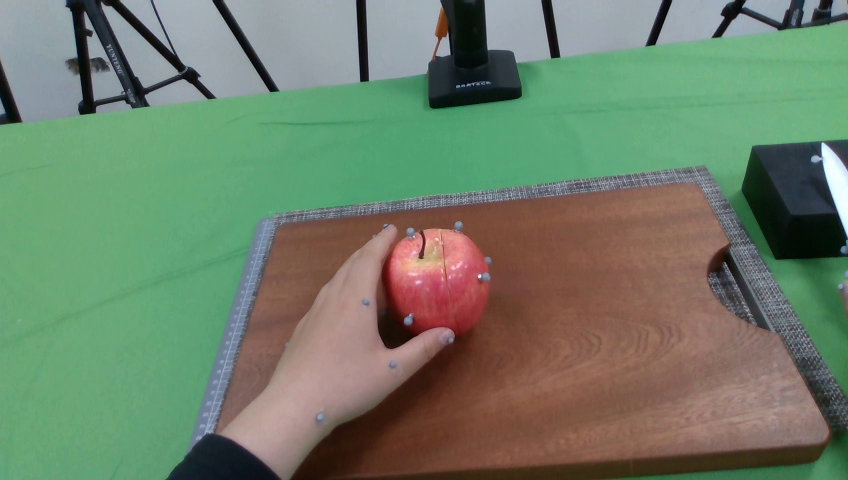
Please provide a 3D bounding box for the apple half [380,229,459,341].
[{"bbox_3d":[-0.005,0.037,0.454,0.053,0.075,0.080,-12,44,5],"label":"apple half"}]

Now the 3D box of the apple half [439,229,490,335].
[{"bbox_3d":[0.033,0.030,0.452,0.033,0.082,0.080,-12,41,5],"label":"apple half"}]

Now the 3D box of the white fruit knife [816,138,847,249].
[{"bbox_3d":[0.334,0.006,0.460,0.027,0.016,0.205,-4,61,6],"label":"white fruit knife"}]
